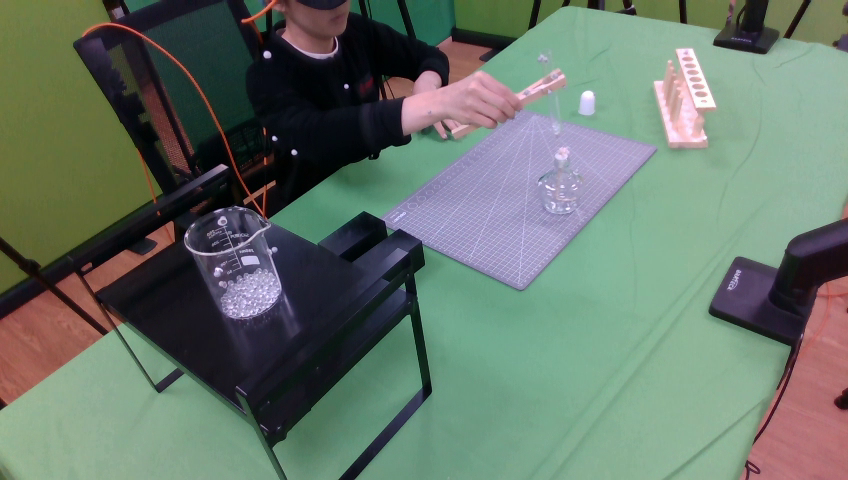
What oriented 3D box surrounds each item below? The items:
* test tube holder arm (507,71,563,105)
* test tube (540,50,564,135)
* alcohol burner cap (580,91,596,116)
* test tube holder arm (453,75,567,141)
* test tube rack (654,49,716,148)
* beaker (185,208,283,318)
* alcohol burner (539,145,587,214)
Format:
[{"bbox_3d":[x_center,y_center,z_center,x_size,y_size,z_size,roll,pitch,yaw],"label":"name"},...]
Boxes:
[{"bbox_3d":[0.162,-0.216,0.878,0.088,0.015,0.010,-31,40,6],"label":"test tube holder arm"},{"bbox_3d":[0.189,-0.212,0.887,0.017,0.151,0.017,-11,49,13],"label":"test tube"},{"bbox_3d":[0.338,-0.283,1.238,0.034,0.048,0.033,-4,42,4],"label":"alcohol burner cap"},{"bbox_3d":[0.124,-0.192,0.882,0.178,0.015,0.013,-27,40,11],"label":"test tube holder arm"},{"bbox_3d":[0.502,-0.281,1.176,0.066,0.085,0.241,1,41,11],"label":"test tube rack"},{"bbox_3d":[-0.192,0.026,0.637,0.084,0.101,0.073,-13,41,-7],"label":"beaker"},{"bbox_3d":[0.226,-0.103,0.985,0.078,0.119,0.077,-6,41,6],"label":"alcohol burner"}]
